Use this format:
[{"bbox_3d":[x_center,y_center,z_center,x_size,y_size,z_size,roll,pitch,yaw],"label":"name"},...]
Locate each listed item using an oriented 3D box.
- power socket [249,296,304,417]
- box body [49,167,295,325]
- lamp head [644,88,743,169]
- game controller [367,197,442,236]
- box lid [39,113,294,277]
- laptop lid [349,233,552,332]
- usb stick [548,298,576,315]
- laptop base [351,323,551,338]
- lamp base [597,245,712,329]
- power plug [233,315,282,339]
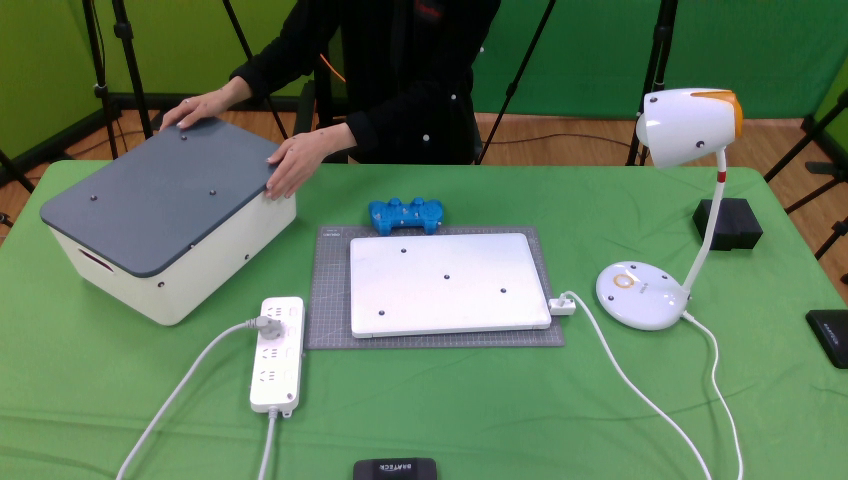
[{"bbox_3d":[-0.239,0.182,0.996,0.072,0.033,0.225,-2,47,-5],"label":"power socket"},{"bbox_3d":[-0.437,-0.046,1.110,0.253,0.161,0.363,24,49,18],"label":"box body"},{"bbox_3d":[0.380,-0.161,0.851,0.122,0.113,0.112,-4,42,25],"label":"lamp head"},{"bbox_3d":[-0.037,-0.057,1.231,0.155,0.052,0.096,-2,49,-5],"label":"game controller"},{"bbox_3d":[-0.434,-0.096,1.056,0.262,0.015,0.370,25,48,18],"label":"box lid"},{"bbox_3d":[0.040,0.071,1.118,0.357,0.013,0.240,-1,44,-5],"label":"laptop lid"},{"bbox_3d":[0.240,0.120,1.085,0.059,0.027,0.021,-2,51,-2],"label":"usb stick"},{"bbox_3d":[0.040,0.081,1.125,0.355,0.023,0.234,-2,43,-6],"label":"laptop base"},{"bbox_3d":[0.418,0.051,1.071,0.179,0.181,0.160,22,49,13],"label":"lamp base"},{"bbox_3d":[-0.271,0.144,0.999,0.072,0.053,0.035,6,47,3],"label":"power plug"}]
